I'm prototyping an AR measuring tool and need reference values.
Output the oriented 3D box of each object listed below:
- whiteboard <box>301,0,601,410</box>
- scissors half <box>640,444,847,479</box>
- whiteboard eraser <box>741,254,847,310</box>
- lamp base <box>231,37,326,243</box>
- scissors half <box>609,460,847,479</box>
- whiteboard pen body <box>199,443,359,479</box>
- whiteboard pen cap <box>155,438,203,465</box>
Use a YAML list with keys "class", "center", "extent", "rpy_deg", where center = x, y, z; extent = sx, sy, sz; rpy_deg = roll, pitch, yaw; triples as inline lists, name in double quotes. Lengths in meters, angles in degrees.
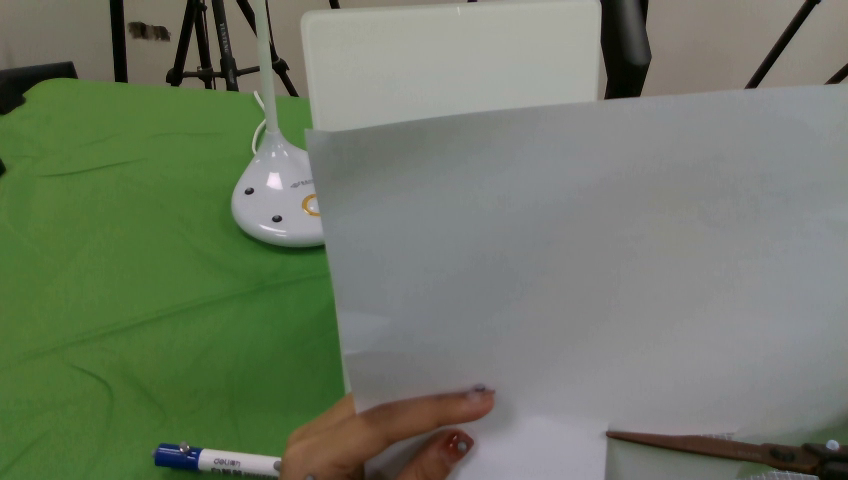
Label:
- class: "whiteboard"
  center: [0.016, -0.041, 0.526]
  extent: [0.218, 0.307, 0.142]
  rpy_deg: [-8, 22, -13]
- class: "scissors half"
  center: [0.169, 0.097, 0.268]
  extent: [0.175, 0.040, 0.013]
  rpy_deg: [-6, 85, -6]
- class: "whiteboard eraser"
  center: [0.387, 0.042, 0.612]
  extent: [0.113, 0.042, 0.055]
  rpy_deg: [0, 41, -5]
- class: "lamp base"
  center: [-0.144, -0.114, 0.655]
  extent: [0.161, 0.182, 0.177]
  rpy_deg: [-29, 47, -33]
- class: "scissors half"
  center: [0.166, 0.097, 0.246]
  extent: [0.174, 0.013, 0.040]
  rpy_deg: [-8, -1, 21]
- class: "whiteboard pen body"
  center: [-0.117, 0.161, 0.441]
  extent: [0.141, 0.017, 0.017]
  rpy_deg: [7, 39, 1]
- class: "whiteboard pen cap"
  center: [-0.176, 0.155, 0.442]
  extent: [0.033, 0.018, 0.018]
  rpy_deg: [6, 39, -1]
